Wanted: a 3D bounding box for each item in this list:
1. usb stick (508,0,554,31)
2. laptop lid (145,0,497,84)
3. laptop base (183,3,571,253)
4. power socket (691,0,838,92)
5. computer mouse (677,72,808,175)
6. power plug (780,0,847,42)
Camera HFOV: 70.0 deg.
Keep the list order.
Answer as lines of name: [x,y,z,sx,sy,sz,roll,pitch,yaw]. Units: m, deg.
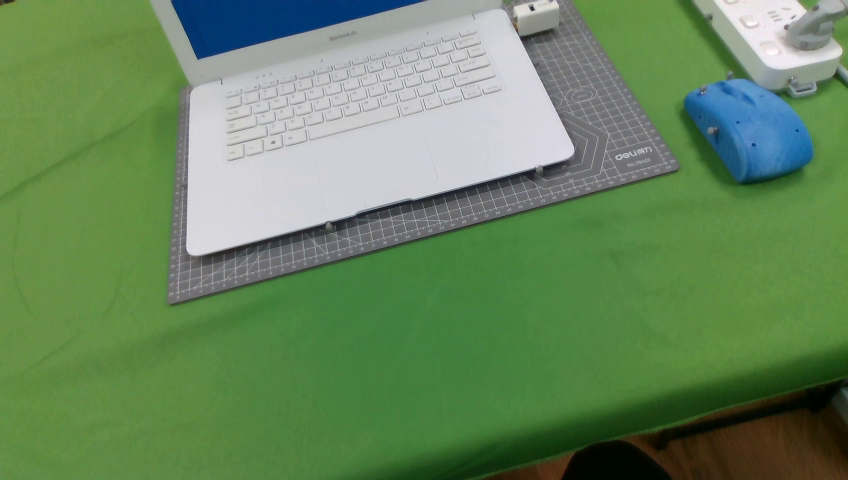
usb stick: [0.105,-0.238,0.636,0.059,0.027,0.021,-16,54,3]
laptop lid: [-0.111,-0.298,0.590,0.357,0.244,0.013,-16,40,0]
laptop base: [-0.062,-0.120,0.597,0.354,0.023,0.233,-15,56,-1]
power socket: [0.320,-0.233,0.600,0.072,0.033,0.224,-12,53,2]
computer mouse: [0.268,-0.107,0.515,0.063,0.041,0.116,-15,48,2]
power plug: [0.357,-0.192,0.538,0.072,0.053,0.035,-3,56,8]
